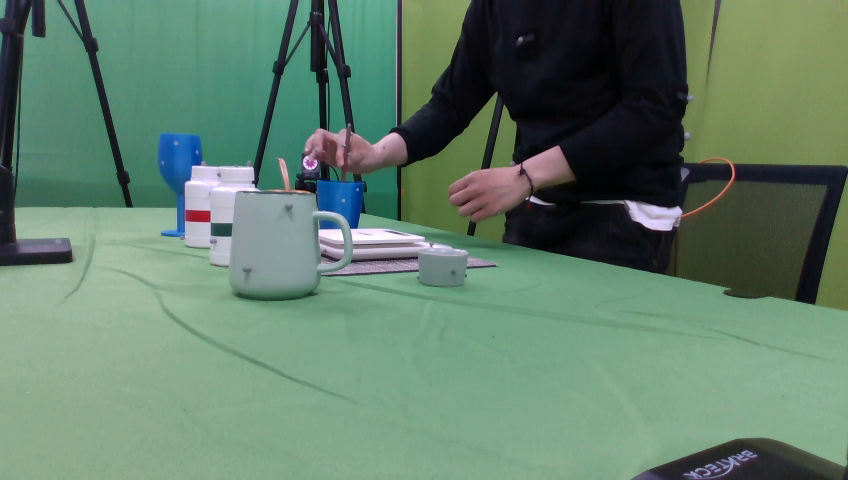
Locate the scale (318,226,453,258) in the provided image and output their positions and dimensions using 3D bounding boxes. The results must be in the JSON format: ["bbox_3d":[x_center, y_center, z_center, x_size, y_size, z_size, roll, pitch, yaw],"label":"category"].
[{"bbox_3d":[-0.066,0.001,0.906,0.202,0.031,0.148,-2,8,-31],"label":"scale"}]

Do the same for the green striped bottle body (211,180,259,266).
[{"bbox_3d":[-0.243,-0.029,0.784,0.063,0.119,0.063,2,7,0],"label":"green striped bottle body"}]

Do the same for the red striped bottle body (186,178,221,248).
[{"bbox_3d":[-0.331,-0.050,0.927,0.063,0.119,0.063,2,6,0],"label":"red striped bottle body"}]

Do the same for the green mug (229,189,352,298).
[{"bbox_3d":[-0.135,0.002,0.618,0.125,0.105,0.092,2,7,4],"label":"green mug"}]

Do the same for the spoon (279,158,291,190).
[{"bbox_3d":[-0.281,-0.103,1.251,0.042,0.193,0.021,4,-39,-28],"label":"spoon"}]

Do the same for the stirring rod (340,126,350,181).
[{"bbox_3d":[-0.142,-0.111,1.053,0.006,0.176,0.014,7,-1,-33],"label":"stirring rod"}]

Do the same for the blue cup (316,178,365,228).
[{"bbox_3d":[-0.149,-0.057,1.071,0.093,0.100,0.092,3,8,0],"label":"blue cup"}]

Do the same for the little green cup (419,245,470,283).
[{"bbox_3d":[0.023,0.028,0.712,0.061,0.038,0.061,1,6,0],"label":"little green cup"}]

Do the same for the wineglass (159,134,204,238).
[{"bbox_3d":[-0.415,-0.093,1.040,0.074,0.172,0.073,2,7,0],"label":"wineglass"}]

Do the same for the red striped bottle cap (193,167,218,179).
[{"bbox_3d":[-0.329,-0.102,0.921,0.044,0.017,0.044,1,9,0],"label":"red striped bottle cap"}]

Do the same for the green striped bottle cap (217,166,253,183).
[{"bbox_3d":[-0.242,-0.085,0.777,0.044,0.020,0.044,2,9,0],"label":"green striped bottle cap"}]
